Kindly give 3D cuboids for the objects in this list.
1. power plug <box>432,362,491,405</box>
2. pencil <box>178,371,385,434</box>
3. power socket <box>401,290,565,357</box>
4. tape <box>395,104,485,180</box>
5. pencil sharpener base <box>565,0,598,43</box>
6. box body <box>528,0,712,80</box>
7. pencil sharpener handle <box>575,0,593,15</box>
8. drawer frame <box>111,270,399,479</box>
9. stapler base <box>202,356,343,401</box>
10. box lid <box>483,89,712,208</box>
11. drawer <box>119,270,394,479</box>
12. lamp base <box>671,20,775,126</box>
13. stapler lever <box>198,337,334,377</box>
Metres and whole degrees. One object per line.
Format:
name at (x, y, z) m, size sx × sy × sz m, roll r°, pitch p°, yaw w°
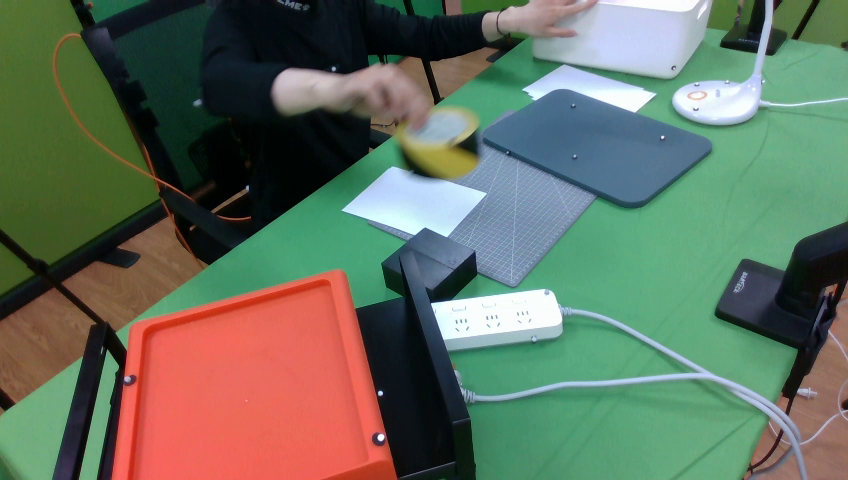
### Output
power plug at (0.044, 0.182, 0.759) m, size 0.073 × 0.035 × 0.052 m, roll 24°, pitch 41°, yaw -19°
pencil at (-0.128, 0.141, 0.534) m, size 0.194 × 0.012 × 0.012 m, roll 14°, pitch 44°, yaw 7°
power socket at (0.080, 0.113, 0.821) m, size 0.227 × 0.033 × 0.072 m, roll -6°, pitch 41°, yaw 0°
tape at (0.021, -0.130, 0.794) m, size 0.117 × 0.053 × 0.116 m, roll -6°, pitch 37°, yaw 5°
pencil sharpener base at (0.387, -0.551, 1.484) m, size 0.061 × 0.107 × 0.077 m, roll 13°, pitch 44°, yaw 23°
box body at (0.451, -0.513, 1.399) m, size 0.361 × 0.161 × 0.254 m, roll 19°, pitch 47°, yaw 28°
pencil sharpener handle at (0.401, -0.595, 1.512) m, size 0.036 × 0.067 × 0.030 m, roll 35°, pitch 49°, yaw 1°
drawer frame at (-0.140, 0.140, 0.506) m, size 0.202 × 0.083 × 0.212 m, roll -15°, pitch 41°, yaw -9°
stapler base at (-0.142, 0.124, 0.557) m, size 0.130 × 0.024 × 0.041 m, roll -2°, pitch 43°, yaw 3°
box lid at (0.320, -0.190, 1.156) m, size 0.264 × 0.015 × 0.368 m, roll -33°, pitch 47°, yaw -28°
drawer at (-0.141, 0.139, 0.509) m, size 0.195 × 0.073 × 0.210 m, roll -14°, pitch 42°, yaw -8°
lamp base at (0.582, -0.332, 1.153) m, size 0.179 × 0.181 × 0.160 m, roll 2°, pitch 41°, yaw 7°
stapler lever at (-0.142, 0.105, 0.541) m, size 0.118 × 0.040 × 0.026 m, roll -3°, pitch 43°, yaw 4°
